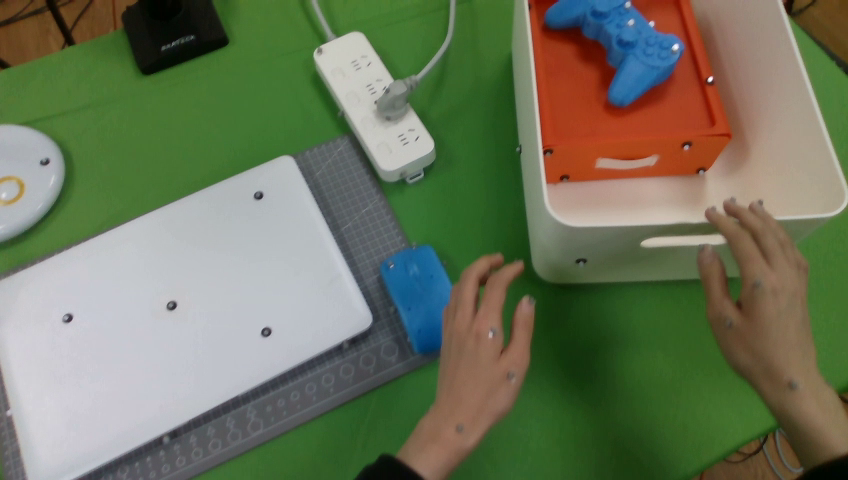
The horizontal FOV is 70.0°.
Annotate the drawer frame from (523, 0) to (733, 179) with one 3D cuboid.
[{"bbox_3d":[0.213,-0.176,0.697,0.202,0.083,0.211,-3,59,-1],"label":"drawer frame"}]

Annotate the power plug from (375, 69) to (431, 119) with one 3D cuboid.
[{"bbox_3d":[-0.022,-0.163,0.710,0.072,0.053,0.035,-16,64,-7],"label":"power plug"}]

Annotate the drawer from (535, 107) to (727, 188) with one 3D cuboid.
[{"bbox_3d":[0.217,-0.164,0.712,0.194,0.074,0.209,-4,54,1],"label":"drawer"}]

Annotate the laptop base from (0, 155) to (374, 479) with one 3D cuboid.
[{"bbox_3d":[-0.257,0.069,0.642,0.354,0.023,0.233,-26,70,-10],"label":"laptop base"}]

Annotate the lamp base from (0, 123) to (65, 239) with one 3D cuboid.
[{"bbox_3d":[-0.519,-0.107,0.645,0.178,0.182,0.160,21,67,15],"label":"lamp base"}]

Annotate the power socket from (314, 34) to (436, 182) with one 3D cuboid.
[{"bbox_3d":[-0.062,-0.165,0.738,0.072,0.033,0.224,-26,66,-12],"label":"power socket"}]

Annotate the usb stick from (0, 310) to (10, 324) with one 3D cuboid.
[{"bbox_3d":[-0.464,0.087,0.627,0.059,0.027,0.021,-22,61,-11],"label":"usb stick"}]

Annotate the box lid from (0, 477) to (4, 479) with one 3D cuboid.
[{"bbox_3d":[-0.407,0.355,0.518,0.370,0.015,0.262,21,68,11],"label":"box lid"}]

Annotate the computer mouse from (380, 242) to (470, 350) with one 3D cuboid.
[{"bbox_3d":[-0.001,0.054,0.627,0.063,0.041,0.116,-22,62,-6],"label":"computer mouse"}]

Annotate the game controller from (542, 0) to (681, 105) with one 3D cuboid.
[{"bbox_3d":[0.209,-0.225,0.666,0.097,0.052,0.154,-24,66,-13],"label":"game controller"}]

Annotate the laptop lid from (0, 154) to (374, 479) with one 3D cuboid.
[{"bbox_3d":[-0.256,0.066,0.631,0.357,0.013,0.239,-25,69,-9],"label":"laptop lid"}]

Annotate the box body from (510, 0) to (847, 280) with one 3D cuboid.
[{"bbox_3d":[0.229,-0.144,0.645,0.254,0.161,0.361,-2,65,1],"label":"box body"}]
